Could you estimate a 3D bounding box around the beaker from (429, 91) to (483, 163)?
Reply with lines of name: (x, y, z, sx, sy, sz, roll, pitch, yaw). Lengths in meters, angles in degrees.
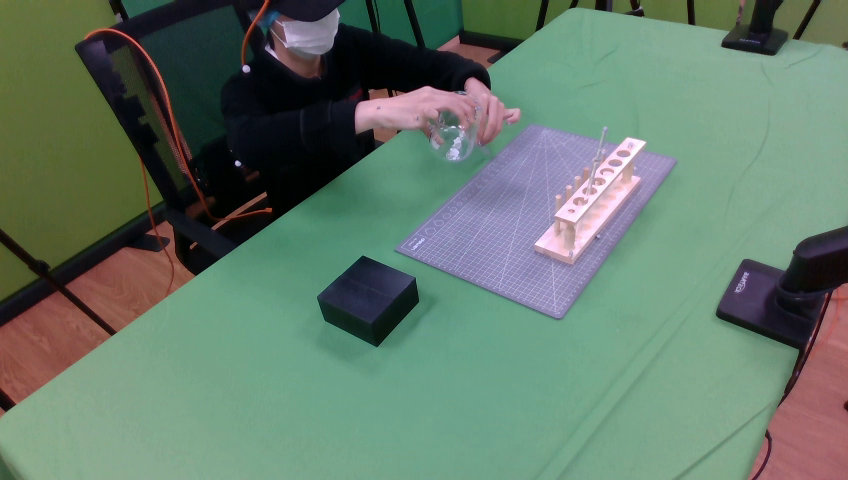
beaker: (0.051, -0.174, 0.952, 0.073, 0.084, 0.100, -6, 40, 22)

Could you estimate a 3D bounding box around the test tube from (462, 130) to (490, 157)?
test tube: (0.096, -0.170, 1.078, 0.017, 0.017, 0.151, 9, -1, 20)

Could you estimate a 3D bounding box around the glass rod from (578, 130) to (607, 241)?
glass rod: (0.240, -0.071, 0.866, 0.008, 0.200, 0.008, 0, 43, 1)

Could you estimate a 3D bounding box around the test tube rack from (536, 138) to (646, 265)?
test tube rack: (0.268, -0.071, 0.964, 0.066, 0.085, 0.243, 23, 49, 32)
